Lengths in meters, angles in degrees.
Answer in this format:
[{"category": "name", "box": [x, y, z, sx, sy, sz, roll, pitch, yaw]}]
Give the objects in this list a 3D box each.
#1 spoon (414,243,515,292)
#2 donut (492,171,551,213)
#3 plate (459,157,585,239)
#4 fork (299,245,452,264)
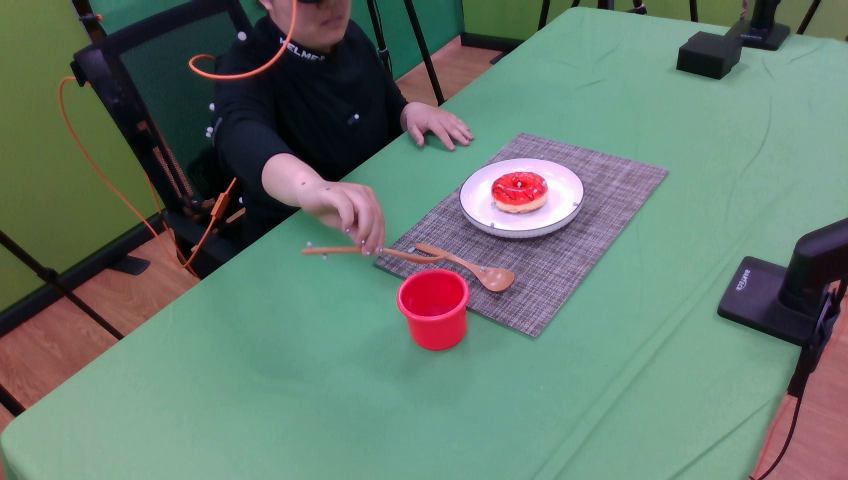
[{"category": "spoon", "box": [0.057, 0.035, 0.924, 0.192, 0.022, 0.041, 24, 68, 34]}, {"category": "donut", "box": [0.163, -0.083, 1.015, 0.099, 0.048, 0.098, -6, 37, 5]}, {"category": "plate", "box": [0.163, -0.068, 1.015, 0.209, 0.038, 0.208, -5, 40, 5]}, {"category": "fork", "box": [-0.055, 0.017, 0.756, 0.209, 0.018, 0.028, 6, -12, -30]}]
